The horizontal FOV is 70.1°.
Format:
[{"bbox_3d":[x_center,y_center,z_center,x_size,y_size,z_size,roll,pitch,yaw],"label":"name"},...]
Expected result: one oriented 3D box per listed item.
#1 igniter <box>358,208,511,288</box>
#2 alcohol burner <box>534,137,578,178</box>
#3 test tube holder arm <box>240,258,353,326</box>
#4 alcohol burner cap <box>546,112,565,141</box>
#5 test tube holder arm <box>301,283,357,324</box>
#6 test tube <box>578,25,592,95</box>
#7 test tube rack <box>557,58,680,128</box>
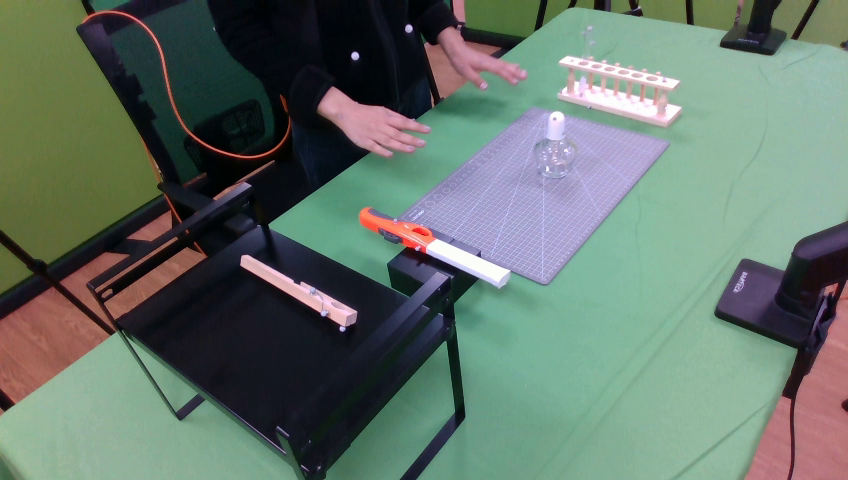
[{"bbox_3d":[0.005,0.005,0.892,0.274,0.025,0.057,24,38,31],"label":"igniter"},{"bbox_3d":[0.232,-0.170,1.065,0.078,0.119,0.077,-5,39,5],"label":"alcohol burner"},{"bbox_3d":[-0.143,0.053,0.658,0.177,0.015,0.013,21,14,32],"label":"test tube holder arm"},{"bbox_3d":[0.229,-0.198,1.042,0.034,0.048,0.033,-3,39,3],"label":"alcohol burner cap"},{"bbox_3d":[-0.105,0.066,0.638,0.087,0.015,0.010,22,14,33],"label":"test tube holder arm"},{"bbox_3d":[0.326,-0.362,1.227,0.017,0.151,0.017,-3,44,4],"label":"test tube"},{"bbox_3d":[0.395,-0.309,1.230,0.240,0.085,0.067,25,50,33],"label":"test tube rack"}]
